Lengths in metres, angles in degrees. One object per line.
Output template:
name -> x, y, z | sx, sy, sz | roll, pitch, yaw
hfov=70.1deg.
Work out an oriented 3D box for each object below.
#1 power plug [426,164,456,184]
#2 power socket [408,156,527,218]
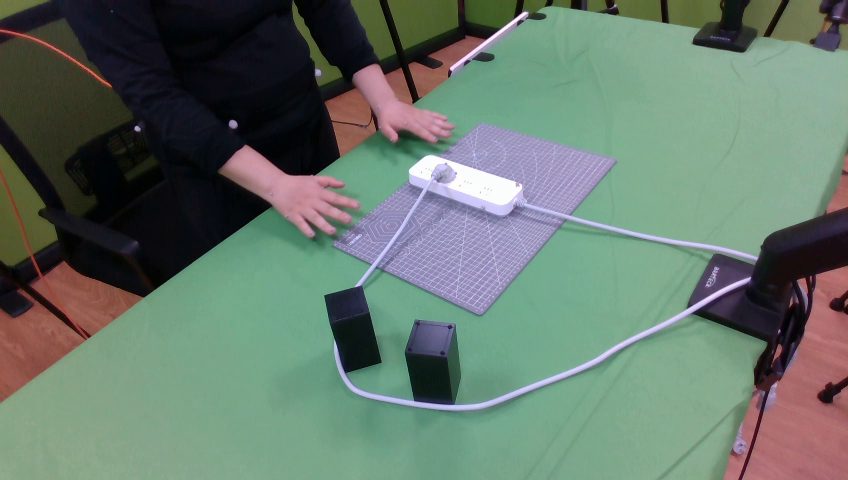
power plug -> 0.024, -0.103, 1.047 | 0.073, 0.053, 0.035 | -36, 47, -26
power socket -> 0.070, -0.095, 1.060 | 0.225, 0.033, 0.072 | 22, 49, 30
